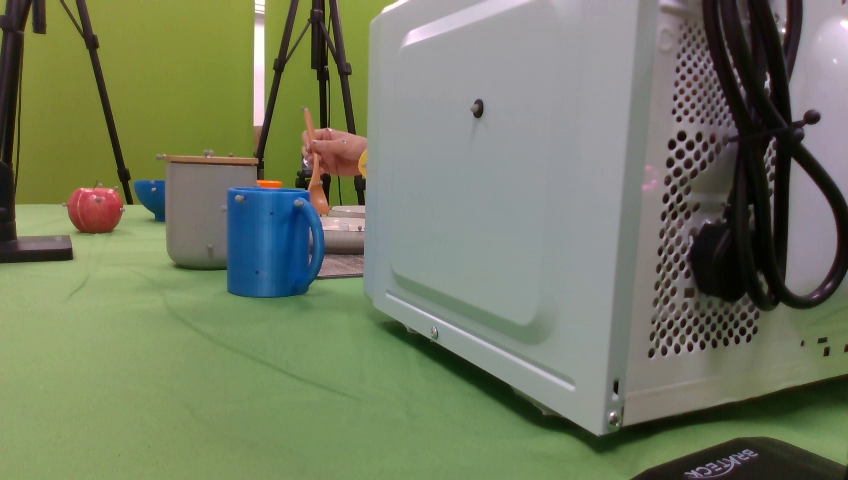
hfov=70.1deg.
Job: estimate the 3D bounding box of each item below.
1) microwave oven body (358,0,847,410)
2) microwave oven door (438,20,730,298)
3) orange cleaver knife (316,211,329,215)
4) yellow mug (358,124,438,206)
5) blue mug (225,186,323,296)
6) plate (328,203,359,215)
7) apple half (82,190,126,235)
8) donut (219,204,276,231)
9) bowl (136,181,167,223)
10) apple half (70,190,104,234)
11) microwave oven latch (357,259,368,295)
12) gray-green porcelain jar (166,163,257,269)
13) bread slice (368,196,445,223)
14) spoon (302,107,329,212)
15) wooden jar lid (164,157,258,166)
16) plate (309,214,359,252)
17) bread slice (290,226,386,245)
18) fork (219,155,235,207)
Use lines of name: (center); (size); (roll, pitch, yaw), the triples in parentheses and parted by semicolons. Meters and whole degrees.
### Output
microwave oven body: (0.210, -0.051, 0.471); (0.444, 0.260, 0.324); (-1, 7, -28)
microwave oven door: (0.181, -0.076, 0.618); (0.358, 0.243, 0.039); (-2, 8, -28)
orange cleaver knife: (-0.259, -0.064, 1.423); (0.212, 0.012, 0.077); (-4, 3, -30)
yellow mug: (-0.029, -0.115, 0.877); (0.130, 0.064, 0.100); (-41, -27, 27)
blue mug: (-0.148, 0.000, 0.618); (0.116, 0.106, 0.083); (7, 9, 33)
plate: (-0.102, -0.053, 1.299); (0.209, 0.038, 0.209); (2, 8, 0)
apple half: (-0.516, -0.046, 0.994); (0.032, 0.081, 0.081); (0, 6, 26)
donut: (-0.316, -0.039, 1.083); (0.099, 0.048, 0.099); (3, 7, 0)
bowl: (-0.497, -0.076, 1.221); (0.151, 0.077, 0.151); (2, 8, 0)
apple half: (-0.552, -0.048, 1.010); (0.053, 0.074, 0.081); (-1, 10, 26)
microwave oven latch: (-0.019, 0.031, 0.529); (0.079, 0.029, 0.030); (-1, 7, -26)
gray-green porcelain jar: (-0.263, -0.031, 0.754); (0.106, 0.126, 0.106); (2, 7, 0)
bread slice: (-0.040, -0.057, 1.142); (0.107, 0.018, 0.133); (-8, -8, -39)
spoon: (-0.178, -0.132, 0.979); (0.021, 0.193, 0.042); (-21, -21, 34)
wooden jar lid: (-0.261, -0.093, 0.746); (0.108, 0.020, 0.108); (0, 9, 0)
plate: (-0.130, -0.011, 0.945); (0.208, 0.039, 0.207); (2, 8, 0)
bread slice: (-0.124, -0.007, 0.938); (0.131, 0.019, 0.105); (3, 9, 33)
fork: (-0.459, -0.134, 1.415); (0.028, 0.018, 0.207); (-1, -34, -25)
